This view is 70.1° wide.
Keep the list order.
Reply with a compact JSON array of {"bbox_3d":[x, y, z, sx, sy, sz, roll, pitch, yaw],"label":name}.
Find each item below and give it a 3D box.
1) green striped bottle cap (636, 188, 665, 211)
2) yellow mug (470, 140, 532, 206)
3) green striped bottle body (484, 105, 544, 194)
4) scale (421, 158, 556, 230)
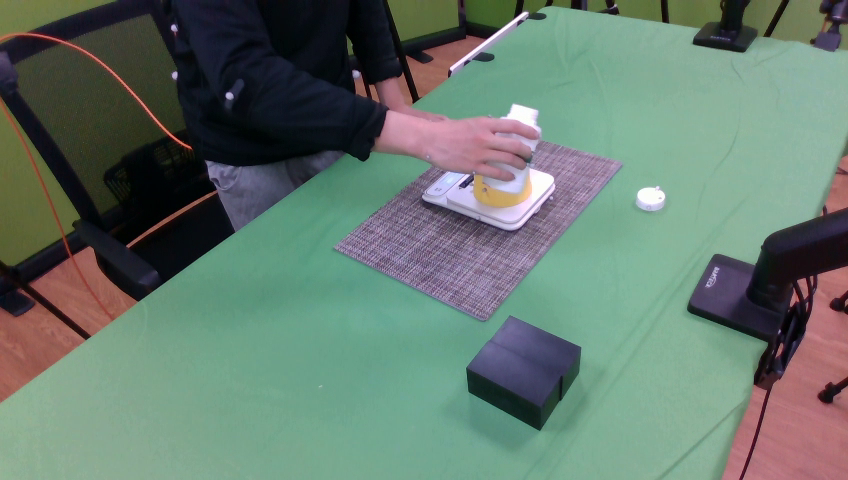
[{"bbox_3d":[0.374,-0.067,0.998,0.044,0.020,0.044,-6,39,5],"label":"green striped bottle cap"},{"bbox_3d":[0.125,-0.121,1.004,0.100,0.064,0.130,-13,40,-5],"label":"yellow mug"},{"bbox_3d":[0.132,-0.130,0.866,0.063,0.119,0.063,15,17,-4],"label":"green striped bottle body"},{"bbox_3d":[0.110,-0.089,1.042,0.199,0.032,0.149,23,48,31],"label":"scale"}]
